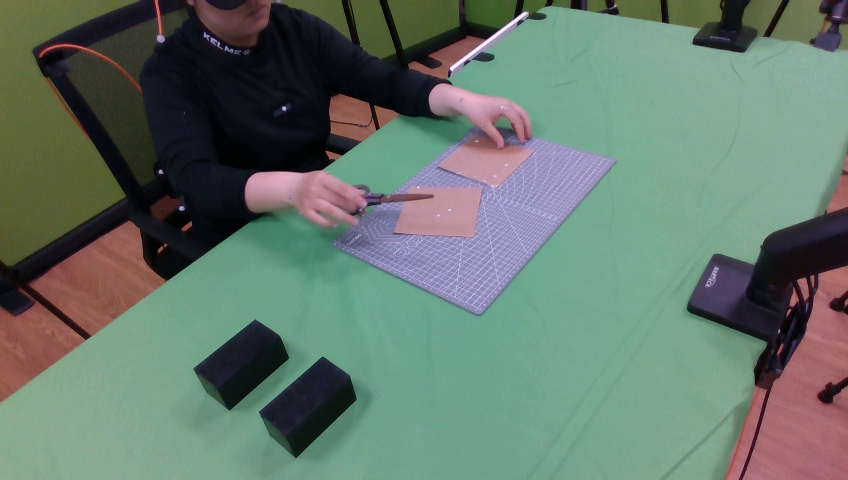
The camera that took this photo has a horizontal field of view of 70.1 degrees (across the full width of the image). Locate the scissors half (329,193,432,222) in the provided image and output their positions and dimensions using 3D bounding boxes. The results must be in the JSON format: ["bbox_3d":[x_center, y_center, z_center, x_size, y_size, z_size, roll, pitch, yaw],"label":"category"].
[{"bbox_3d":[-0.071,-0.056,0.953,0.175,0.013,0.040,-12,40,14],"label":"scissors half"}]

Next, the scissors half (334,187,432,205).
[{"bbox_3d":[-0.067,-0.070,0.967,0.174,0.013,0.040,1,51,26],"label":"scissors half"}]

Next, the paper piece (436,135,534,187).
[{"bbox_3d":[0.116,-0.153,1.140,0.135,0.009,0.138,26,48,27],"label":"paper piece"}]

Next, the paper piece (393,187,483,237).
[{"bbox_3d":[0.027,-0.051,1.033,0.135,0.004,0.135,3,42,12],"label":"paper piece"}]
